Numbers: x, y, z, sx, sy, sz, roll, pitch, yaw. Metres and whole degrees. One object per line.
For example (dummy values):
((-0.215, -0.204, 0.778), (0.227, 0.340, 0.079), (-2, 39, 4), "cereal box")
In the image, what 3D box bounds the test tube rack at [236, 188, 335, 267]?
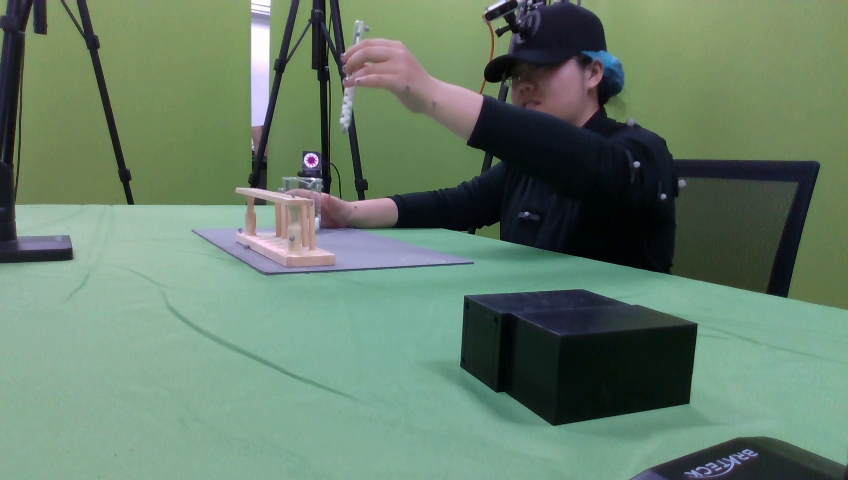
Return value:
((-0.202, -0.024, 0.855), (0.067, 0.085, 0.241), (-2, 8, -31), "test tube rack")

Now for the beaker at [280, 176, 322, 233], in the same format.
((-0.225, -0.065, 1.111), (0.074, 0.100, 0.083), (-2, 10, -30), "beaker")

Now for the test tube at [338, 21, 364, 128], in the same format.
((-0.102, -0.230, 0.842), (0.017, 0.150, 0.017), (9, -1, 1), "test tube")
